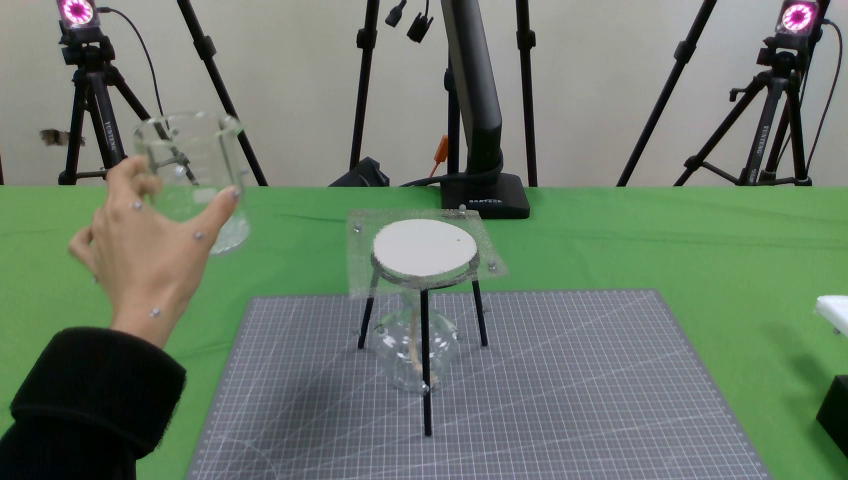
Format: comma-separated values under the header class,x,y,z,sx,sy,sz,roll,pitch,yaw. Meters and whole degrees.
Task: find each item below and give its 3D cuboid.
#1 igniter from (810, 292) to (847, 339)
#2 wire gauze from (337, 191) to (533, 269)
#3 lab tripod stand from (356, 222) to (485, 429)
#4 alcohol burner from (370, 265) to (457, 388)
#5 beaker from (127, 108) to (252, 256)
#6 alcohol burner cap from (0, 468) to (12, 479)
class,x,y,z,sx,sy,sz,roll,pitch,yaw
igniter,0.391,0.121,0.457,0.057,0.025,0.274,-1,29,-3
wire gauze,0.006,-0.009,0.484,0.125,0.011,0.120,-8,28,-27
lab tripod stand,0.000,0.064,0.524,0.148,0.132,0.147,2,33,-1
alcohol burner,-0.009,0.071,0.532,0.078,0.120,0.077,2,31,-1
beaker,-0.175,-0.045,0.474,0.084,0.101,0.073,-14,33,-22
alcohol burner cap,-0.302,0.179,0.422,0.034,0.048,0.033,1,30,0
